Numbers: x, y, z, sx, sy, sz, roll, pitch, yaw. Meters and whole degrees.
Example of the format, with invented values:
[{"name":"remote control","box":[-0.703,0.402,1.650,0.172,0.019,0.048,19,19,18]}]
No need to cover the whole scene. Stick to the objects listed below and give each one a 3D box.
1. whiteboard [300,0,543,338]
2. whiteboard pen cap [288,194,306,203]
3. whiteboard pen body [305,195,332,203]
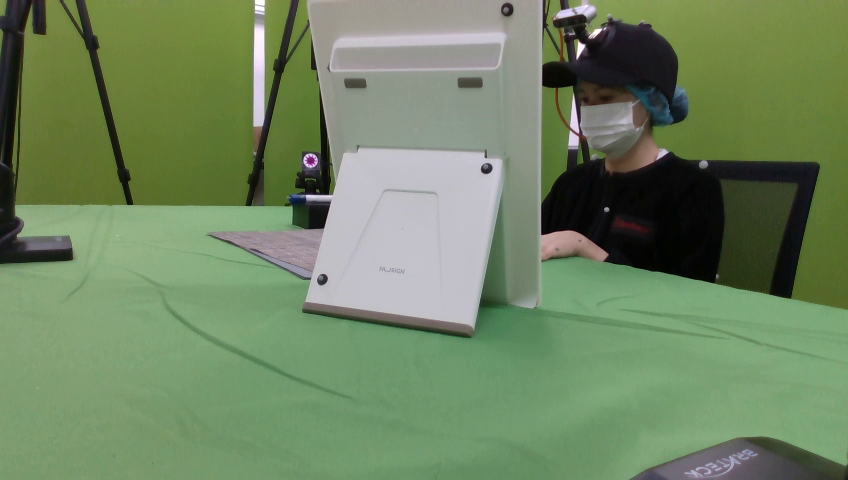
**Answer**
[{"name":"whiteboard","box":[-0.020,-0.050,0.523,0.216,0.305,0.144,6,27,22]},{"name":"whiteboard pen cap","box":[-0.253,-0.083,1.204,0.033,0.018,0.018,-4,10,-34]},{"name":"whiteboard pen body","box":[-0.201,-0.085,1.237,0.141,0.017,0.017,-2,9,-33]}]
